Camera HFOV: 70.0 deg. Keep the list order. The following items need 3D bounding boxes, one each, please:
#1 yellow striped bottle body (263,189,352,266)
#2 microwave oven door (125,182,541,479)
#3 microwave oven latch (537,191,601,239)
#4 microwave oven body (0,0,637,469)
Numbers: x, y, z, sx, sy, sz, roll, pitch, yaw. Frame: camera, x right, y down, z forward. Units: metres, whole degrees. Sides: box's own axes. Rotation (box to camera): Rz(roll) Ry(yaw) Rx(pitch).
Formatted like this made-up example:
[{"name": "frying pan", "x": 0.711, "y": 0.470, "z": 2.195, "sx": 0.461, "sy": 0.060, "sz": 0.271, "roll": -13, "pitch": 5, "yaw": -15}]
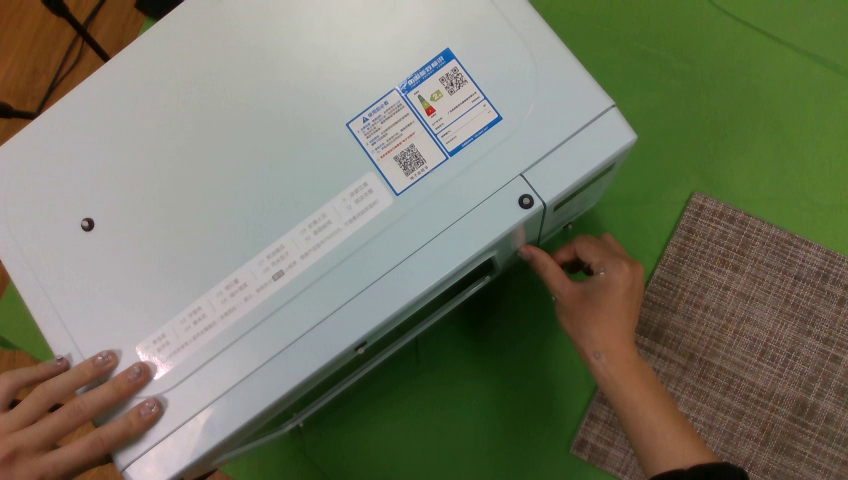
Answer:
[{"name": "yellow striped bottle body", "x": -0.109, "y": -0.011, "z": 0.567, "sx": 0.063, "sy": 0.120, "sz": 0.062, "roll": 0, "pitch": 84, "yaw": 4}, {"name": "microwave oven door", "x": -0.050, "y": 0.082, "z": 0.535, "sx": 0.356, "sy": 0.245, "sz": 0.039, "roll": -37, "pitch": 78, "yaw": 3}, {"name": "microwave oven latch", "x": 0.143, "y": -0.034, "z": 0.623, "sx": 0.079, "sy": 0.029, "sz": 0.030, "roll": -35, "pitch": 80, "yaw": 4}, {"name": "microwave oven body", "x": -0.100, "y": -0.058, "z": 0.564, "sx": 0.442, "sy": 0.261, "sz": 0.324, "roll": -37, "pitch": 80, "yaw": 4}]
